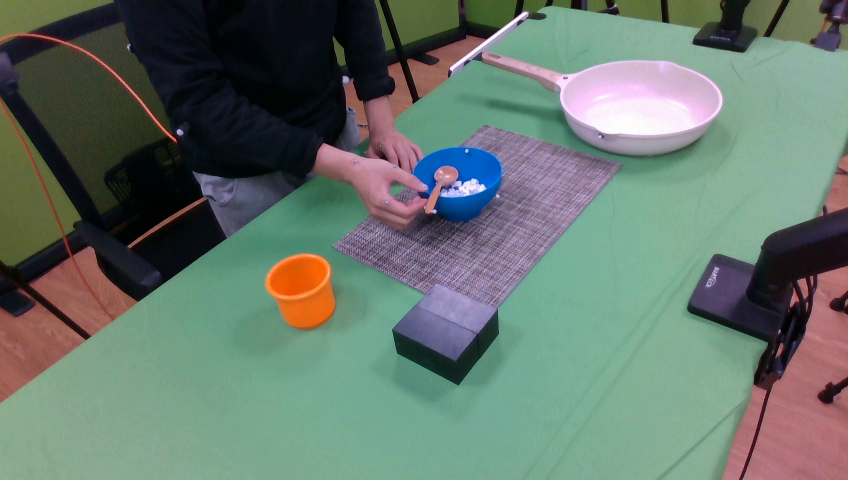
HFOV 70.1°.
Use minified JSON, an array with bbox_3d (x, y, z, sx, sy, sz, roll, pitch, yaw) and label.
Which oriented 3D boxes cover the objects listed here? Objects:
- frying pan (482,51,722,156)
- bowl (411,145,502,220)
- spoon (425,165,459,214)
[{"bbox_3d":[0.326,-0.298,1.205,0.485,0.103,0.307,28,51,23],"label":"frying pan"},{"bbox_3d":[0.057,-0.086,1.010,0.151,0.077,0.150,-4,41,4],"label":"bowl"},{"bbox_3d":[0.023,-0.083,0.963,0.041,0.021,0.193,8,24,10],"label":"spoon"}]
